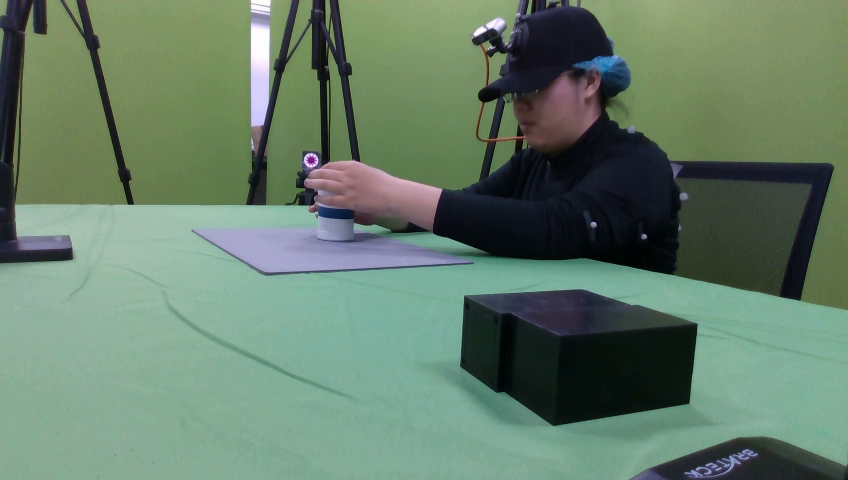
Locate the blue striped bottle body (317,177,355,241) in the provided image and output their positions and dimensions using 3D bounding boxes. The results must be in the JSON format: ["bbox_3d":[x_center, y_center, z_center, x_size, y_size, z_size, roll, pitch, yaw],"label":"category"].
[{"bbox_3d":[-0.149,-0.061,1.024,0.063,0.120,0.063,3,8,0],"label":"blue striped bottle body"}]

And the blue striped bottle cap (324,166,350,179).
[{"bbox_3d":[-0.146,-0.114,1.017,0.044,0.020,0.044,1,7,0],"label":"blue striped bottle cap"}]
